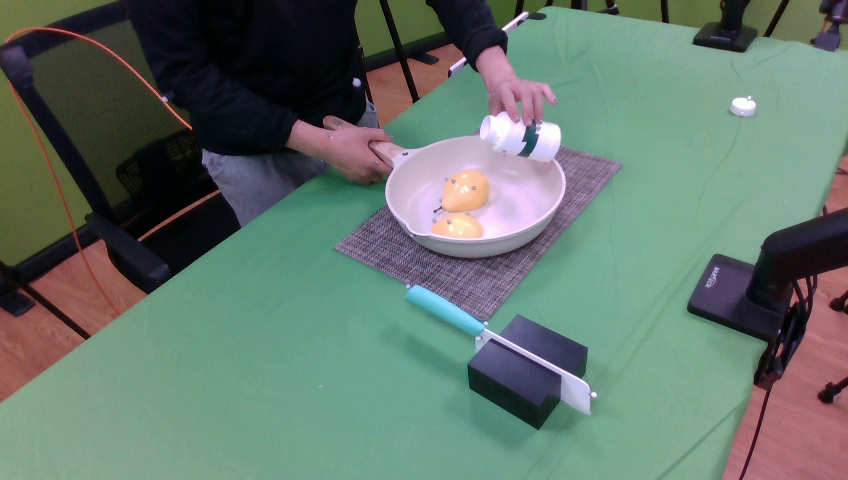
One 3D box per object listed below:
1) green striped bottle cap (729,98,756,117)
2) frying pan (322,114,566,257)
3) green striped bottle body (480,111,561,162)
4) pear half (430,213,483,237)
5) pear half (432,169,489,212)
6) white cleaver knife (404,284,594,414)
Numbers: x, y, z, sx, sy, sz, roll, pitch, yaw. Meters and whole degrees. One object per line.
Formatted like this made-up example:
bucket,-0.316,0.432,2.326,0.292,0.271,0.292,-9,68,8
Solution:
green striped bottle cap,0.623,-0.259,1.182,0.044,0.020,0.044,-3,41,3
frying pan,0.004,-0.121,1.039,0.484,0.103,0.308,31,52,25
green striped bottle body,0.150,-0.164,0.951,0.120,0.063,0.063,9,36,-20
pear half,0.051,-0.024,0.973,0.087,0.031,0.070,14,40,18
pear half,0.057,-0.083,1.024,0.110,0.056,0.075,-33,41,-24
white cleaver knife,0.084,0.135,0.764,0.284,0.066,0.021,28,46,31
